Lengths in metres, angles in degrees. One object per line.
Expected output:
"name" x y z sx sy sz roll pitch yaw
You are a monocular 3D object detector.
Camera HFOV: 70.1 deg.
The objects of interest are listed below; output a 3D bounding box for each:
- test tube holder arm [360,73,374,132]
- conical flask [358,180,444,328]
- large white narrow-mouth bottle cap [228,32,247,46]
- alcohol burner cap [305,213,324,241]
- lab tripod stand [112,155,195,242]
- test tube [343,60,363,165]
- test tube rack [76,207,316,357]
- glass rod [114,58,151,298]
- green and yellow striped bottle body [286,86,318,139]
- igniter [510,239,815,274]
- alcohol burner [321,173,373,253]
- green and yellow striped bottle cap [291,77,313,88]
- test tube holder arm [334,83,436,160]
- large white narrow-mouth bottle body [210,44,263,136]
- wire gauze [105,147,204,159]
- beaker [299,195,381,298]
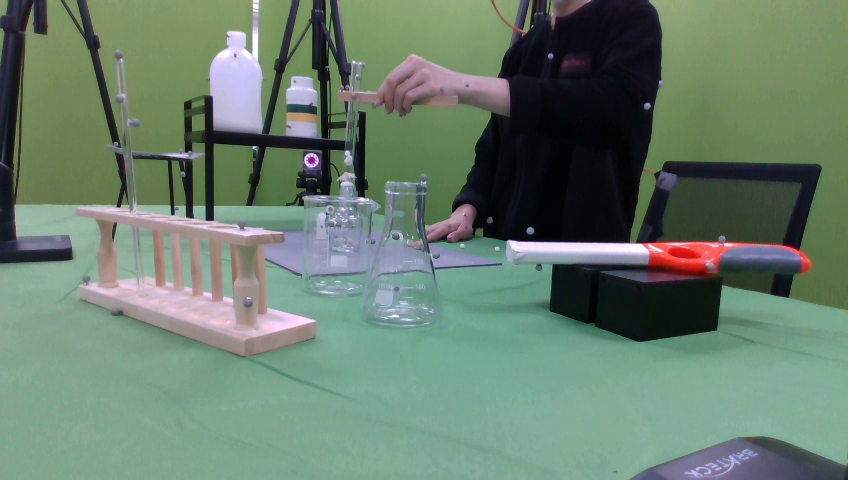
"test tube holder arm" -0.080 -0.193 0.851 0.010 0.087 0.015 3 -17 -36
"conical flask" -0.017 0.010 0.522 0.075 0.122 0.075 3 7 0
"large white narrow-mouth bottle cap" -0.364 -0.391 1.180 0.038 0.024 0.037 3 8 0
"alcohol burner cap" -0.185 -0.023 1.027 0.034 0.048 0.034 2 6 0
"lab tripod stand" -0.405 -0.064 0.931 0.148 0.131 0.148 1 6 0
"test tube" -0.103 -0.181 0.868 0.017 0.150 0.017 8 21 -3
"test tube rack" -0.196 0.023 0.499 0.241 0.085 0.067 8 9 36
"glass rod" -0.236 -0.044 0.493 0.008 0.199 0.008 1 15 0
"green and yellow striped bottle body" -0.251 -0.270 1.245 0.063 0.119 0.063 2 7 0
"igniter" 0.220 0.015 0.565 0.277 0.025 0.057 2 16 -1
"alcohol burner" -0.115 -0.041 0.905 0.078 0.119 0.078 1 6 0
"green and yellow striped bottle cap" -0.250 -0.321 1.237 0.045 0.020 0.045 4 6 0
"test tube holder arm" -0.052 -0.166 0.865 0.179 0.013 0.015 31 -35 -28
"large white narrow-mouth bottle body" -0.369 -0.305 1.194 0.102 0.194 0.102 3 8 0
"wire gauze" -0.407 -0.131 0.928 0.125 0.011 0.121 2 6 -11
"beaker" -0.087 0.006 0.626 0.084 0.100 0.074 1 8 -17
